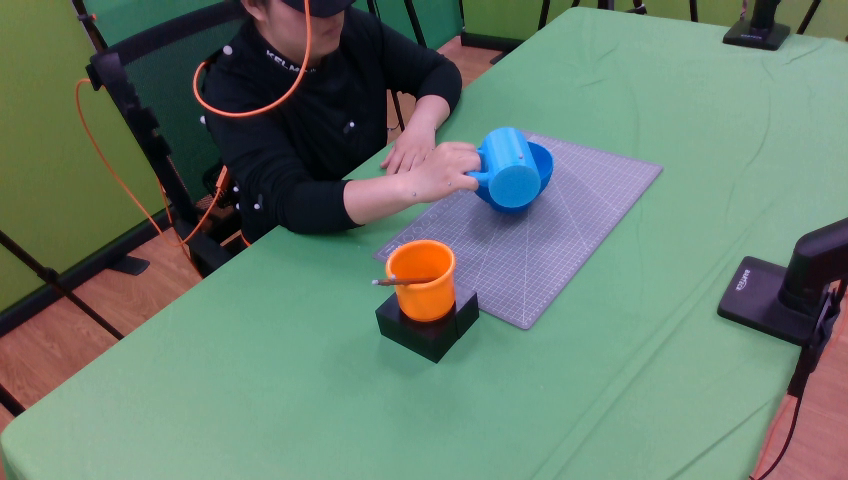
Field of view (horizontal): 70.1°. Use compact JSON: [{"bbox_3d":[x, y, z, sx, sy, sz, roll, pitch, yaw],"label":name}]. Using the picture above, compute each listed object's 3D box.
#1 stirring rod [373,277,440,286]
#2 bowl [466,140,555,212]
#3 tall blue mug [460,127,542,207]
[{"bbox_3d":[-0.018,0.051,0.758,0.014,0.006,0.177,13,3,23],"label":"stirring rod"},{"bbox_3d":[0.145,-0.100,1.025,0.151,0.077,0.150,-5,40,5],"label":"bowl"},{"bbox_3d":[0.116,-0.116,0.906,0.108,0.077,0.107,23,34,-22],"label":"tall blue mug"}]
